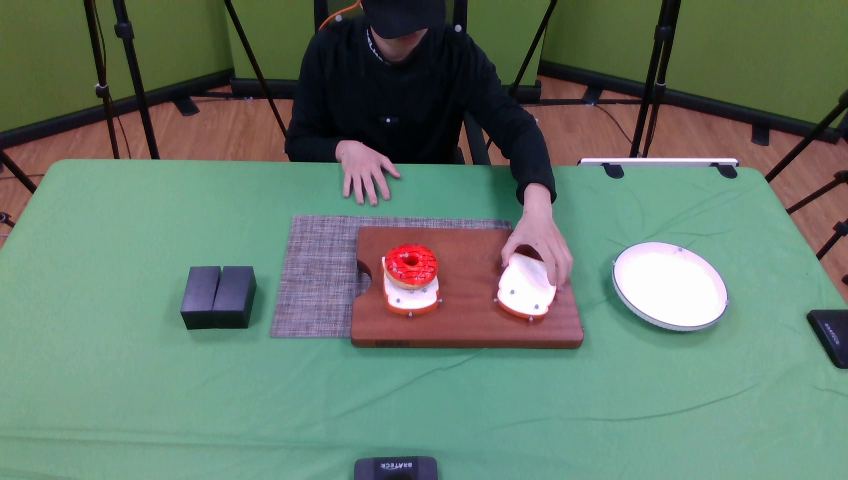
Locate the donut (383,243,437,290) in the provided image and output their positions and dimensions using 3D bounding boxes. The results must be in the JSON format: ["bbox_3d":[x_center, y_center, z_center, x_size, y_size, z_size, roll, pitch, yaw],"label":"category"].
[{"bbox_3d":[-0.025,0.047,1.076,0.099,0.048,0.098,4,45,-4],"label":"donut"}]

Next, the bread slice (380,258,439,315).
[{"bbox_3d":[-0.023,0.079,1.087,0.105,0.019,0.130,-2,45,-5],"label":"bread slice"}]

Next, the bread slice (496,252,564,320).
[{"bbox_3d":[0.189,0.085,1.092,0.107,0.018,0.133,14,48,11],"label":"bread slice"}]

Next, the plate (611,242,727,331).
[{"bbox_3d":[0.455,0.090,1.138,0.209,0.038,0.208,3,45,-2],"label":"plate"}]
